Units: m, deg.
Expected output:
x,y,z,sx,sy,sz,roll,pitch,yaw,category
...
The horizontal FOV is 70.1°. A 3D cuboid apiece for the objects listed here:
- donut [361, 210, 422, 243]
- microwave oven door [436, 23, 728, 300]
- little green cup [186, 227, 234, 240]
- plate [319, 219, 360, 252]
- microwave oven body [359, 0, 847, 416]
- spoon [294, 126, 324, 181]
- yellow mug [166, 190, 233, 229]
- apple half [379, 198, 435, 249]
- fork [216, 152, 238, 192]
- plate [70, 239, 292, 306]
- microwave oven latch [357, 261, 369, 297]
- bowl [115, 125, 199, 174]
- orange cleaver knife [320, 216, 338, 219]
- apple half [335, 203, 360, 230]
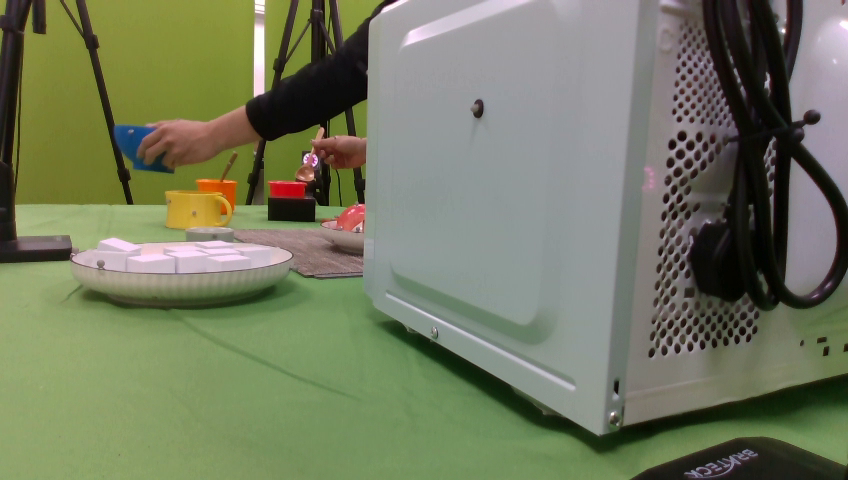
x,y,z,sx,sy,sz,roll,pitch,yaw,category
-0.051,-0.020,0.959,0.099,0.048,0.099,6,8,-1,donut
0.180,-0.073,0.621,0.358,0.243,0.039,-2,9,-29,microwave oven door
-0.284,0.005,0.805,0.061,0.038,0.061,2,8,0,little green cup
-0.059,-0.007,0.939,0.209,0.038,0.209,3,8,0,plate
0.211,-0.047,0.474,0.444,0.260,0.324,-1,7,-28,microwave oven body
-0.257,-0.202,1.392,0.042,0.021,0.193,14,52,-3,spoon
-0.415,-0.057,1.132,0.130,0.064,0.100,6,8,16,yellow mug
-0.020,-0.030,0.891,0.081,0.053,0.074,-2,49,-26,apple half
-0.455,-0.132,1.367,0.028,0.018,0.207,-3,-34,-38,fork
-0.242,0.032,0.618,0.208,0.039,0.207,3,8,0,plate
-0.019,0.033,0.531,0.079,0.029,0.030,-1,7,-27,microwave oven latch
-0.519,-0.170,1.172,0.151,0.077,0.151,6,2,0,bowl
-0.142,-0.057,1.394,0.077,0.012,0.212,2,6,44,orange cleaver knife
-0.116,-0.038,0.960,0.081,0.033,0.081,-37,8,7,apple half
